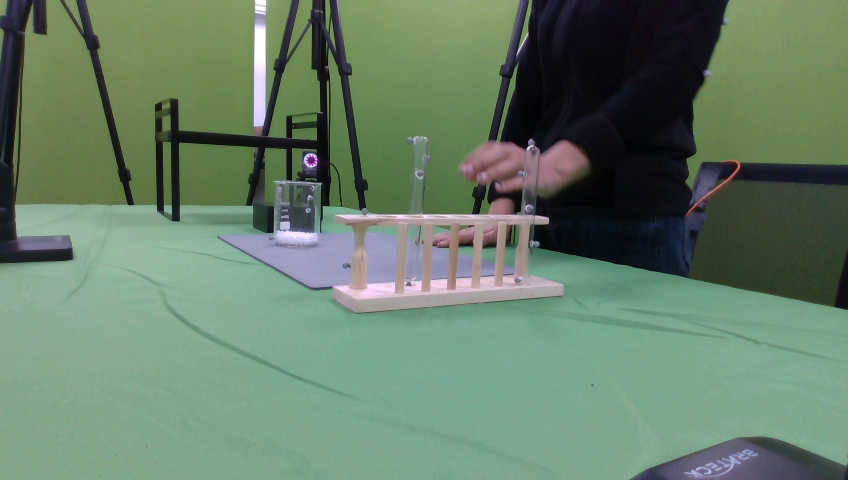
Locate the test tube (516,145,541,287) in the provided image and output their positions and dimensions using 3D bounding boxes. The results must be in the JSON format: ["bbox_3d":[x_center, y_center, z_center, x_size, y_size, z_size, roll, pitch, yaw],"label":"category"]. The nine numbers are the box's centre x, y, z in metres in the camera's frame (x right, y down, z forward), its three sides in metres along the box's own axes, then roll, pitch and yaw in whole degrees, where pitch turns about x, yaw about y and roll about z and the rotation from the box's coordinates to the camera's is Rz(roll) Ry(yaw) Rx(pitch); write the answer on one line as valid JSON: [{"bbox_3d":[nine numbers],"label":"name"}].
[{"bbox_3d":[0.110,-0.024,0.638,0.017,0.150,0.017,3,6,0],"label":"test tube"}]

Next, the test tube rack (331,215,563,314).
[{"bbox_3d":[0.031,0.019,0.626,0.243,0.085,0.066,-1,8,-28],"label":"test tube rack"}]

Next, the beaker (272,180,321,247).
[{"bbox_3d":[-0.197,-0.042,0.944,0.073,0.100,0.084,7,8,29],"label":"beaker"}]

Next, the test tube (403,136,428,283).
[{"bbox_3d":[-0.009,-0.031,0.617,0.017,0.150,0.017,5,2,0],"label":"test tube"}]
